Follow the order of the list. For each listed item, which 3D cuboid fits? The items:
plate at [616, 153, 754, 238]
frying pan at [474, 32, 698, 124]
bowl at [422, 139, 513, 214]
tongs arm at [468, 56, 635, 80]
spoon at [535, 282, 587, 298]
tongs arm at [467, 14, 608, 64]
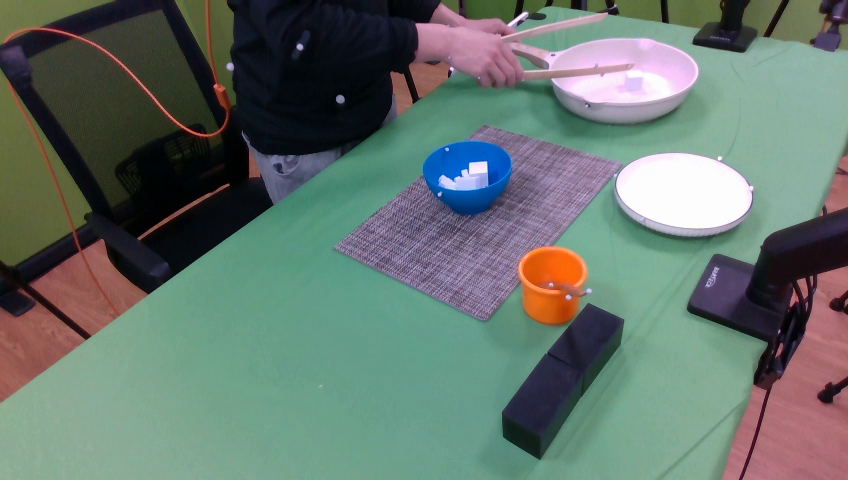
[{"bbox_3d":[0.416,-0.069,0.977,0.207,0.039,0.206,-4,40,4],"label":"plate"},{"bbox_3d":[0.320,-0.371,1.290,0.485,0.103,0.307,27,50,22],"label":"frying pan"},{"bbox_3d":[0.075,-0.098,1.021,0.151,0.077,0.150,-4,41,4],"label":"bowl"},{"bbox_3d":[0.250,-0.328,1.129,0.387,0.026,0.050,-15,78,-30],"label":"tongs arm"},{"bbox_3d":[0.176,0.063,0.774,0.041,0.194,0.021,-2,85,0],"label":"spoon"},{"bbox_3d":[0.223,-0.388,1.141,0.390,0.027,0.028,-25,87,-32],"label":"tongs arm"}]
